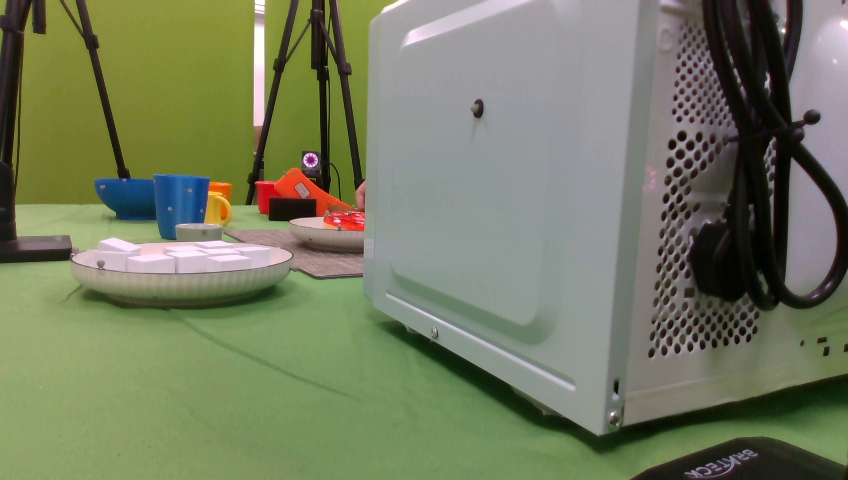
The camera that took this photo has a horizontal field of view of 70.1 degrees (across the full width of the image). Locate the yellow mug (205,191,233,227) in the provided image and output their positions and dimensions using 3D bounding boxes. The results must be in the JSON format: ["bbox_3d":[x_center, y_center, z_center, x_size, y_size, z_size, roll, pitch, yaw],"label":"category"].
[{"bbox_3d":[-0.415,-0.057,1.132,0.130,0.064,0.100,6,8,16],"label":"yellow mug"}]

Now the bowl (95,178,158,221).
[{"bbox_3d":[-0.576,-0.081,1.217,0.151,0.077,0.151,3,8,0],"label":"bowl"}]

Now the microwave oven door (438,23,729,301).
[{"bbox_3d":[0.181,-0.072,0.620,0.358,0.243,0.039,-2,8,-29],"label":"microwave oven door"}]

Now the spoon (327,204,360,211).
[{"bbox_3d":[-0.106,-0.059,1.118,0.041,0.021,0.195,-19,-6,34],"label":"spoon"}]

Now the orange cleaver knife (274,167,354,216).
[{"bbox_3d":[-0.238,-0.091,1.381,0.212,0.077,0.012,31,0,-19],"label":"orange cleaver knife"}]

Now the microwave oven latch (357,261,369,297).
[{"bbox_3d":[-0.019,0.033,0.531,0.079,0.029,0.030,-1,7,-27],"label":"microwave oven latch"}]

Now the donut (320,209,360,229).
[{"bbox_3d":[-0.115,-0.023,0.961,0.099,0.048,0.099,5,8,0],"label":"donut"}]

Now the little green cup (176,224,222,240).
[{"bbox_3d":[-0.312,-0.001,0.842,0.061,0.038,0.061,2,8,0],"label":"little green cup"}]

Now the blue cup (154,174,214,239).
[{"bbox_3d":[-0.390,-0.053,0.978,0.093,0.100,0.092,3,6,0],"label":"blue cup"}]

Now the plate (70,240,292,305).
[{"bbox_3d":[-0.242,0.031,0.618,0.208,0.039,0.207,2,8,0],"label":"plate"}]

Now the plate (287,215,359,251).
[{"bbox_3d":[-0.112,-0.012,0.960,0.209,0.038,0.209,3,8,0],"label":"plate"}]

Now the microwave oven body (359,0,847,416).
[{"bbox_3d":[0.211,-0.047,0.474,0.444,0.260,0.324,-1,7,-28],"label":"microwave oven body"}]

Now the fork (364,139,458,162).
[{"bbox_3d":[-0.012,-0.132,0.908,0.028,0.018,0.208,-12,-5,39],"label":"fork"}]
